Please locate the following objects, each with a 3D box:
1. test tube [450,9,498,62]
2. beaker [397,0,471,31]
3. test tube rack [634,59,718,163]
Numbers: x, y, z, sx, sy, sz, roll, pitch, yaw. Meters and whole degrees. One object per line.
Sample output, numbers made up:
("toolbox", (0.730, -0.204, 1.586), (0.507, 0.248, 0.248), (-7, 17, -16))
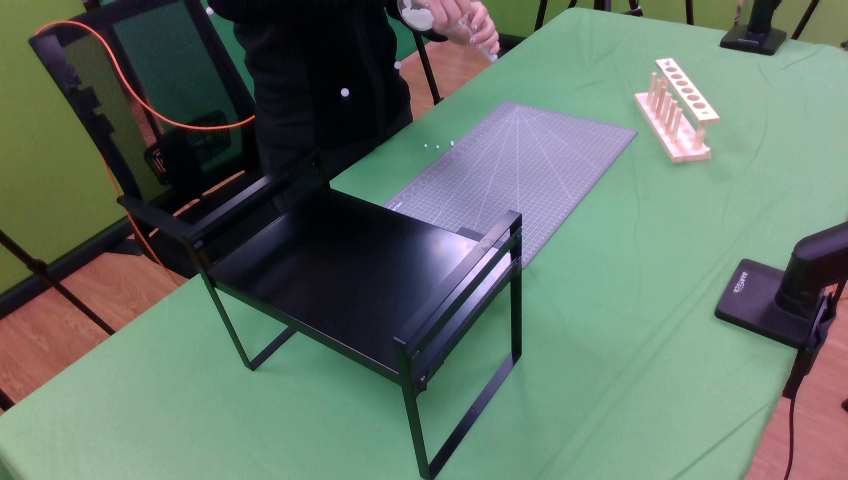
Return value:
("test tube", (0.084, -0.331, 0.987), (0.017, 0.151, 0.017), (-9, 72, 30))
("beaker", (0.015, -0.350, 0.874), (0.073, 0.084, 0.100), (24, 49, 28))
("test tube rack", (0.470, -0.250, 1.148), (0.067, 0.085, 0.241), (-6, 40, 3))
